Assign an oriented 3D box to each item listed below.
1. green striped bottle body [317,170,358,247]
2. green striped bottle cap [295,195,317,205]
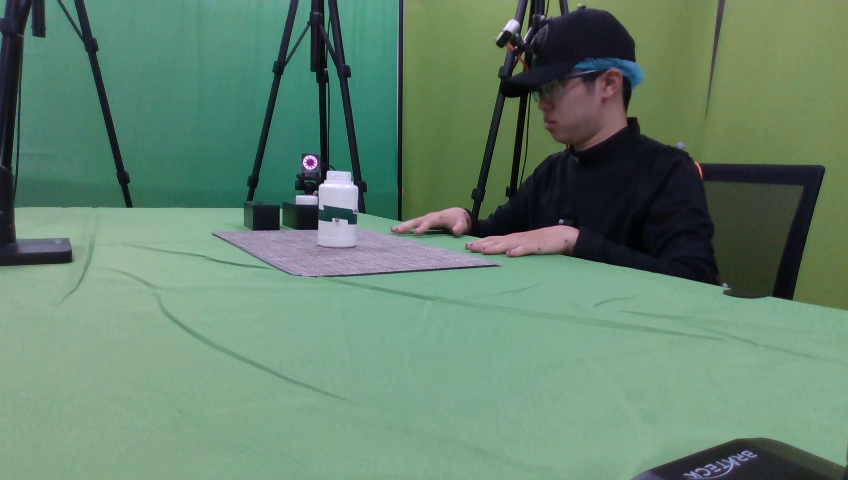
[{"bbox_3d":[-0.138,-0.051,0.964,0.063,0.119,0.063,2,7,0],"label":"green striped bottle body"},{"bbox_3d":[-0.240,-0.082,1.228,0.044,0.020,0.044,1,4,0],"label":"green striped bottle cap"}]
